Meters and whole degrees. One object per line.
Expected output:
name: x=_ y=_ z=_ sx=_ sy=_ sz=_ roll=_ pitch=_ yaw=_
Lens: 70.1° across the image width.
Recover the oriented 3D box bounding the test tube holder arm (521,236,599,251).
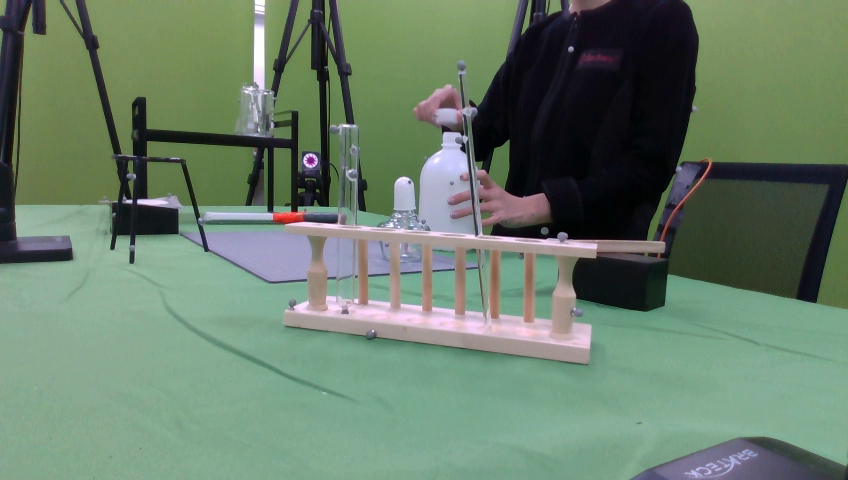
test tube holder arm: x=0.144 y=0.004 z=0.635 sx=0.088 sy=0.015 sz=0.010 roll=0 pitch=13 yaw=-19

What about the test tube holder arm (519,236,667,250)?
test tube holder arm: x=0.186 y=0.003 z=0.654 sx=0.179 sy=0.015 sz=0.013 roll=0 pitch=13 yaw=-18

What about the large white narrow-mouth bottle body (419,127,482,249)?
large white narrow-mouth bottle body: x=0.045 y=-0.086 z=0.995 sx=0.102 sy=0.194 sz=0.102 roll=2 pitch=8 yaw=0

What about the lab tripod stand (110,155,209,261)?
lab tripod stand: x=-0.361 y=-0.046 z=0.806 sx=0.148 sy=0.131 sz=0.148 roll=2 pitch=5 yaw=0

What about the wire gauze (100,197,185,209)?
wire gauze: x=-0.469 y=-0.062 z=1.008 sx=0.126 sy=0.011 sz=0.121 roll=-2 pitch=8 yaw=-25

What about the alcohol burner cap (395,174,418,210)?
alcohol burner cap: x=-0.026 y=-0.067 z=0.833 sx=0.034 sy=0.048 sz=0.034 roll=-1 pitch=12 yaw=1

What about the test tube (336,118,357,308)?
test tube: x=-0.061 y=-0.019 z=0.476 sx=0.017 sy=0.150 sz=0.017 roll=2 pitch=10 yaw=0

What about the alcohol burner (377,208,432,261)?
alcohol burner: x=-0.027 y=-0.031 z=0.838 sx=0.078 sy=0.119 sz=0.078 roll=0 pitch=6 yaw=0

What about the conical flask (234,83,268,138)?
conical flask: x=-0.399 y=-0.298 z=1.396 sx=0.075 sy=0.122 sz=0.075 roll=2 pitch=8 yaw=0

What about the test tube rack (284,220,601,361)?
test tube rack: x=0.013 y=0.032 z=0.482 sx=0.242 sy=0.085 sz=0.067 roll=4 pitch=7 yaw=16

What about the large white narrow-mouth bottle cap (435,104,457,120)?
large white narrow-mouth bottle cap: x=0.036 y=-0.209 z=0.989 sx=0.038 sy=0.024 sz=0.037 roll=2 pitch=8 yaw=0

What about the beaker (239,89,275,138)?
beaker: x=-0.361 y=-0.273 z=1.308 sx=0.074 sy=0.100 sz=0.084 roll=0 pitch=8 yaw=-11

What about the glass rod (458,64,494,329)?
glass rod: x=0.039 y=-0.029 z=0.449 sx=0.008 sy=0.199 sz=0.008 roll=-7 pitch=9 yaw=1

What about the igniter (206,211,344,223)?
igniter: x=-0.302 y=-0.048 z=1.249 sx=0.278 sy=0.025 sz=0.057 roll=-2 pitch=-2 yaw=-27
